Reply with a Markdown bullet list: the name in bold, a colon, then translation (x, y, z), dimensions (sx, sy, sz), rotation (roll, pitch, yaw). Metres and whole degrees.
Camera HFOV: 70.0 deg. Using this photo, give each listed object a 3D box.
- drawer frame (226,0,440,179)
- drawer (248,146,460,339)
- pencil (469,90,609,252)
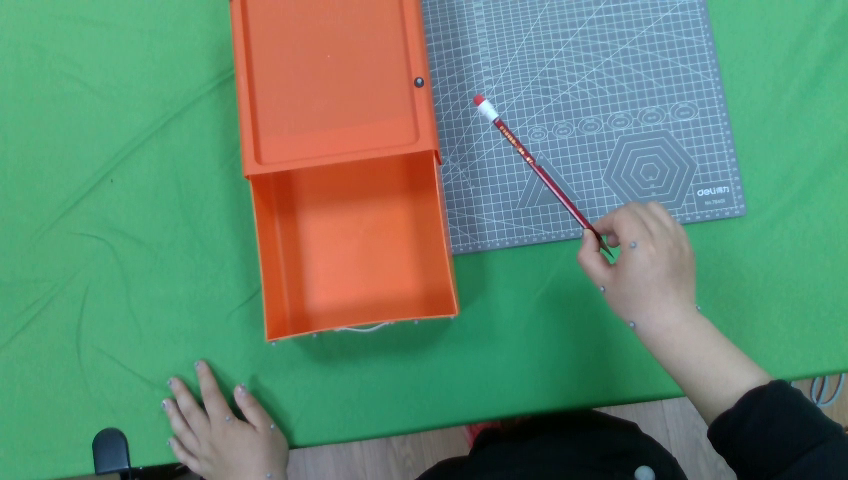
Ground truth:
- **drawer frame**: translation (-0.097, -0.175, 0.646), dimensions (0.201, 0.083, 0.213), rotation (-9, 83, 5)
- **drawer**: translation (-0.073, -0.013, 0.632), dimensions (0.194, 0.073, 0.211), rotation (-9, 85, 6)
- **pencil**: translation (0.106, -0.064, 0.556), dimensions (0.012, 0.012, 0.193), rotation (-40, 86, 1)
